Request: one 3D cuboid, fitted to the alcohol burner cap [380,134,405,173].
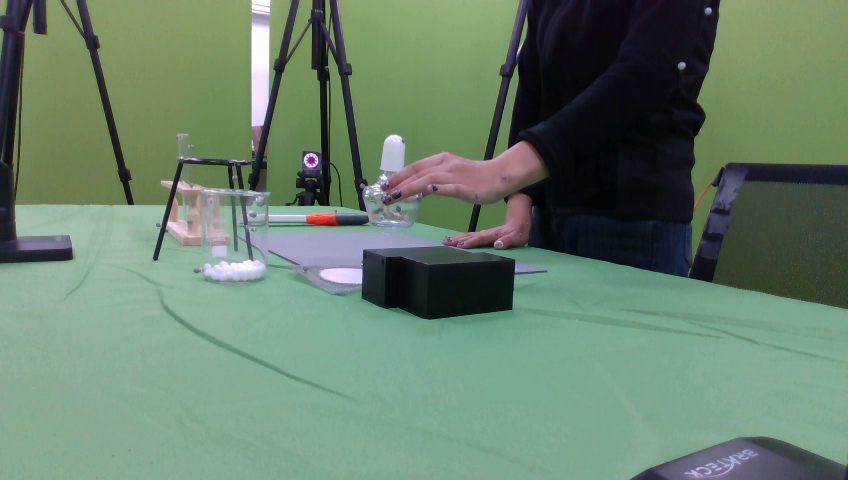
[{"bbox_3d":[-0.038,-0.110,0.769,0.034,0.048,0.034,7,11,-1],"label":"alcohol burner cap"}]

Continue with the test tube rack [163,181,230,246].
[{"bbox_3d":[-0.387,-0.050,1.015,0.067,0.085,0.241,-2,9,-30],"label":"test tube rack"}]

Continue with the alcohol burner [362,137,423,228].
[{"bbox_3d":[-0.040,-0.075,0.772,0.078,0.119,0.078,0,7,0],"label":"alcohol burner"}]

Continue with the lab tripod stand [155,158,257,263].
[{"bbox_3d":[-0.275,-0.041,0.797,0.148,0.131,0.148,2,9,0],"label":"lab tripod stand"}]

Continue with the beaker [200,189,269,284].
[{"bbox_3d":[-0.209,-0.006,0.676,0.073,0.100,0.084,7,8,28],"label":"beaker"}]

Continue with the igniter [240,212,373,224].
[{"bbox_3d":[-0.237,-0.045,1.250,0.278,0.025,0.057,-2,-2,-31],"label":"igniter"}]

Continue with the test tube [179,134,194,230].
[{"bbox_3d":[-0.366,-0.089,0.938,0.017,0.150,0.017,-1,9,1],"label":"test tube"}]

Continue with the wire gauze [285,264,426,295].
[{"bbox_3d":[-0.079,0.039,0.692,0.122,0.011,0.124,-4,11,-37],"label":"wire gauze"}]
